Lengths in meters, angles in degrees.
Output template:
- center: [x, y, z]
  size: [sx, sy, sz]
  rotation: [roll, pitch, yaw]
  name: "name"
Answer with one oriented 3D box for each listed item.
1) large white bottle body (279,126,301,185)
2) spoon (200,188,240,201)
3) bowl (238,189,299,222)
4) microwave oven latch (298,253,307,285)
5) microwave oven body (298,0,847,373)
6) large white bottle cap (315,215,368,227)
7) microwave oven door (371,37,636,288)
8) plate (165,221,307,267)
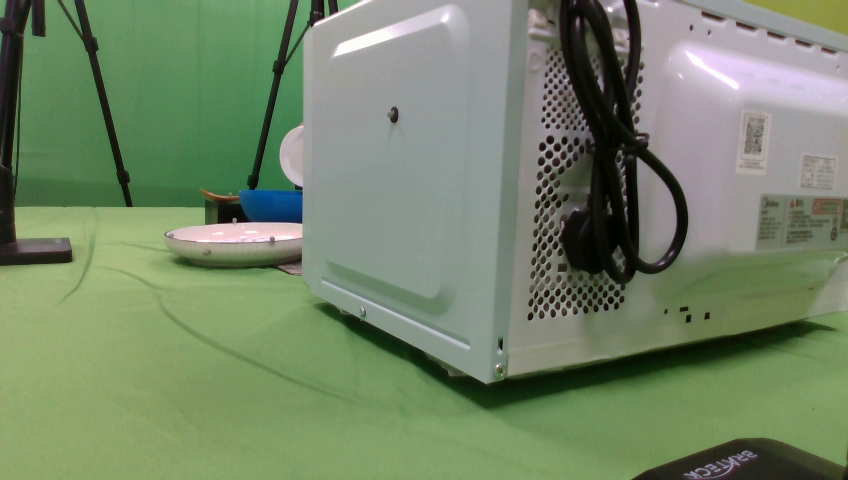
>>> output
- center: [-0.179, -0.162, 1.168]
  size: [0.130, 0.130, 0.185]
  rotation: [6, 10, 25]
  name: "large white bottle body"
- center: [-0.338, -0.080, 1.190]
  size: [0.194, 0.021, 0.041]
  rotation: [5, 3, -19]
  name: "spoon"
- center: [-0.245, -0.046, 1.053]
  size: [0.151, 0.077, 0.151]
  rotation: [3, 8, 0]
  name: "bowl"
- center: [-0.081, 0.027, 0.583]
  size: [0.079, 0.029, 0.030]
  rotation: [-2, 7, -33]
  name: "microwave oven latch"
- center: [0.151, -0.055, 0.542]
  size: [0.444, 0.260, 0.324]
  rotation: [-2, 7, -33]
  name: "microwave oven body"
- center: [-0.177, -0.041, 1.309]
  size: [0.115, 0.018, 0.115]
  rotation: [2, 6, 0]
  name: "large white bottle cap"
- center: [0.109, -0.080, 0.686]
  size: [0.358, 0.243, 0.039]
  rotation: [-2, 9, -33]
  name: "microwave oven door"
- center: [-0.241, 0.004, 0.829]
  size: [0.209, 0.038, 0.209]
  rotation: [0, 9, 0]
  name: "plate"
